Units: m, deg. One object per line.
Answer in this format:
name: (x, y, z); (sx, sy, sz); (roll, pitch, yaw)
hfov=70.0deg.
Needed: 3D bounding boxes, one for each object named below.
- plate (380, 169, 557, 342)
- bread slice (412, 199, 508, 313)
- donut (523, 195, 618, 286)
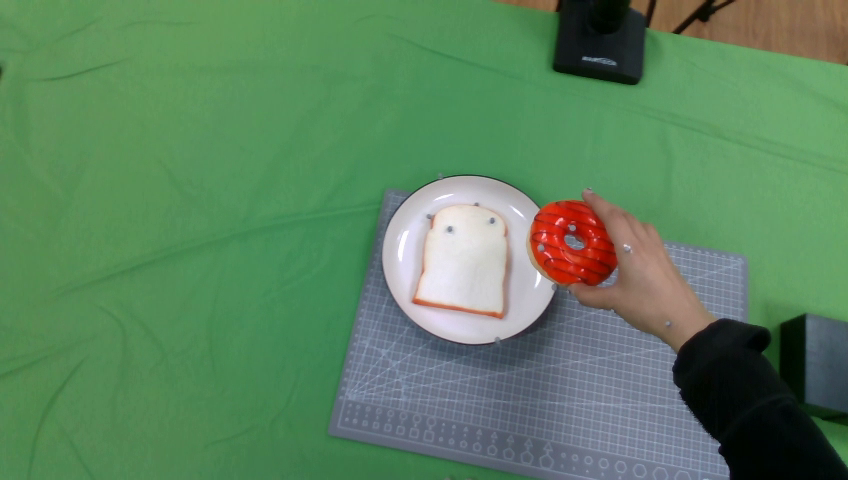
plate: (0.053, 0.018, 0.705); (0.209, 0.038, 0.207); (1, 71, -2)
bread slice: (0.046, 0.013, 0.708); (0.105, 0.019, 0.131); (9, 71, 0)
donut: (0.150, 0.000, 0.621); (0.099, 0.048, 0.098); (2, 68, -5)
